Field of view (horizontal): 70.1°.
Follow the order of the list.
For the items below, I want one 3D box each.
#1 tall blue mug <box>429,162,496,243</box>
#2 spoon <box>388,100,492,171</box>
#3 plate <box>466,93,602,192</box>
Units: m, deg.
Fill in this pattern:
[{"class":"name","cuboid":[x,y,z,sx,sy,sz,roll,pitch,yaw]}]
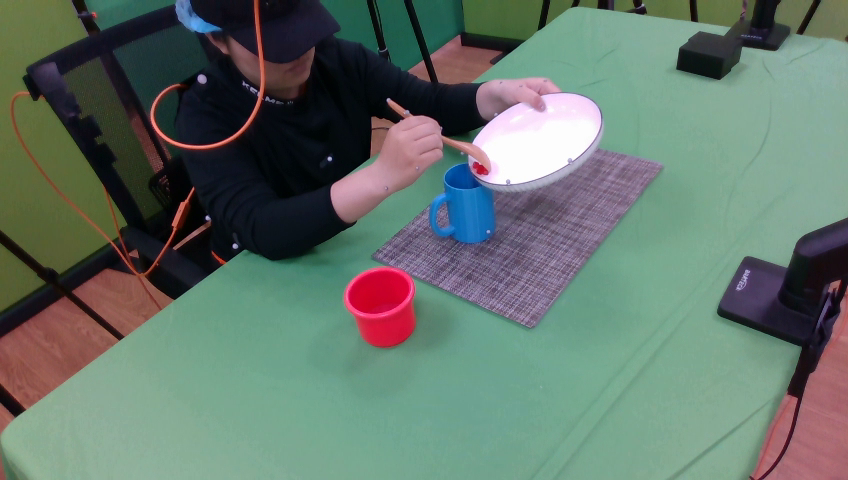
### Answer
[{"class":"tall blue mug","cuboid":[0.067,-0.051,0.960,0.077,0.108,0.107,18,47,27]},{"class":"spoon","cuboid":[0.027,-0.153,0.888,0.195,0.021,0.041,24,36,-24]},{"class":"plate","cuboid":[0.166,-0.142,0.910,0.207,0.039,0.206,-18,40,17]}]
